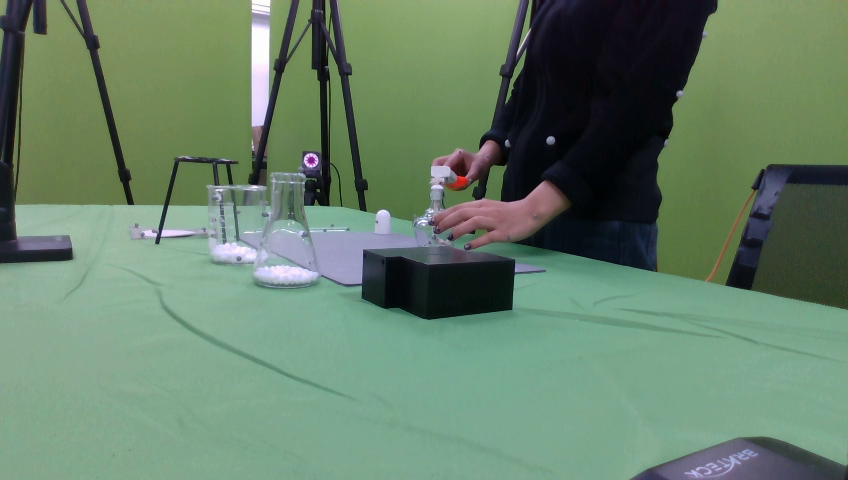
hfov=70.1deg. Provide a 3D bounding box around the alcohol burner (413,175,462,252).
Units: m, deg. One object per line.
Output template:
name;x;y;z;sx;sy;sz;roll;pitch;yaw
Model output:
alcohol burner;0.021;-0.041;0.948;0.078;0.119;0.078;0;7;0

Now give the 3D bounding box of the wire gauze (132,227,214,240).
wire gauze;-0.425;-0.013;1.018;0.122;0.011;0.124;-1;6;-28

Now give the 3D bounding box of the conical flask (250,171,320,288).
conical flask;-0.150;-0.013;0.658;0.075;0.122;0.075;2;7;0

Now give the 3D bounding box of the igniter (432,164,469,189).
igniter;0.050;-0.114;1.100;0.057;0.025;0.277;1;0;9

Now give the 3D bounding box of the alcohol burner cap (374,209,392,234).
alcohol burner cap;-0.078;-0.036;1.148;0.034;0.048;0.034;2;7;0

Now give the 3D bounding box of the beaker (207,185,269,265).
beaker;-0.244;-0.021;0.784;0.083;0.100;0.074;6;8;30

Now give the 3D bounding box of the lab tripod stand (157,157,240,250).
lab tripod stand;-0.322;-0.057;0.905;0.148;0.131;0.148;4;7;0

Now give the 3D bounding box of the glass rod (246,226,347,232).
glass rod;-0.236;-0.021;1.140;0.201;0.008;0.008;-2;8;-33
